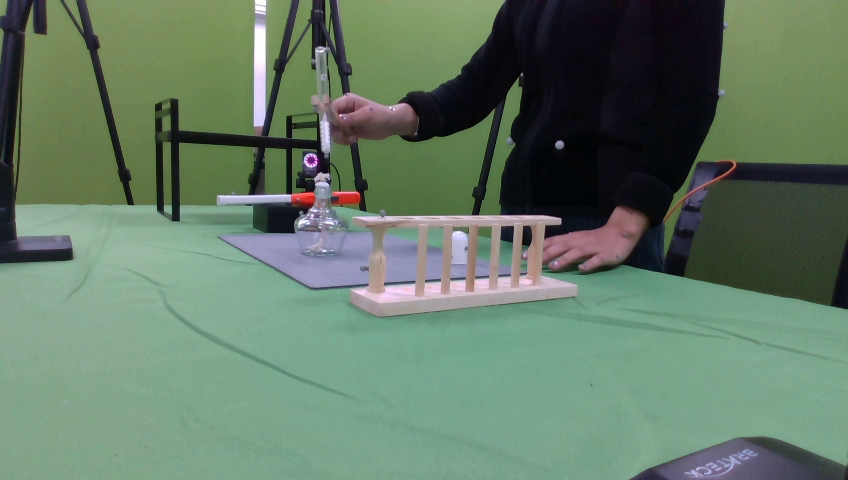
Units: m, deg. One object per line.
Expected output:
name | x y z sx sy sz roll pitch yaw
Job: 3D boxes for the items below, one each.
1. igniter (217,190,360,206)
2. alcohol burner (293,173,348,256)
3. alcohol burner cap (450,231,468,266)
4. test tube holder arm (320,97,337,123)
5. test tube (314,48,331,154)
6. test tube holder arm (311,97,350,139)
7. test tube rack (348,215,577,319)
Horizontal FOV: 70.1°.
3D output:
igniter | -0.248 -0.080 1.150 0.278 0.025 0.057 -5 8 -29
alcohol burner | -0.146 -0.036 0.859 0.078 0.119 0.078 4 8 0
alcohol burner cap | 0.046 0.012 0.839 0.034 0.048 0.034 3 5 0
test tube holder arm | -0.138 -0.188 0.878 0.010 0.015 0.088 4 -5 0
test tube | -0.144 -0.196 0.856 0.017 0.150 0.017 -4 -3 0
test tube holder arm | -0.140 -0.184 0.923 0.013 0.015 0.178 4 -5 7
test tube rack | 0.048 0.021 0.619 0.244 0.085 0.066 -2 9 -31
